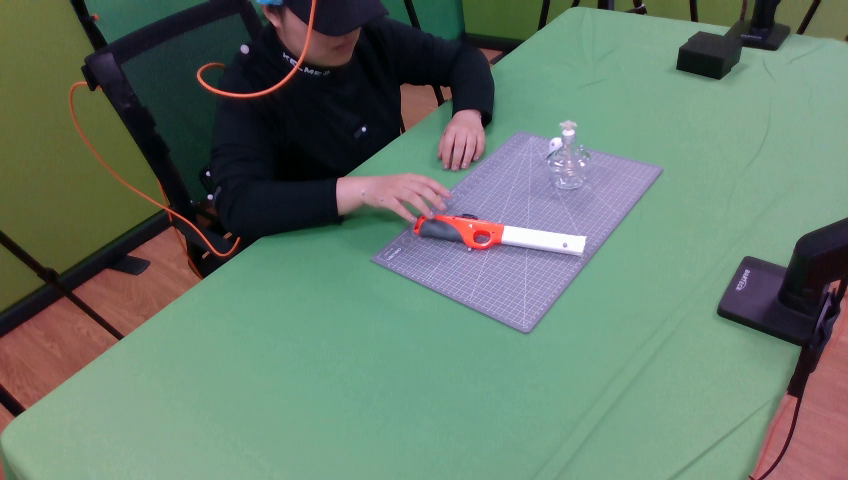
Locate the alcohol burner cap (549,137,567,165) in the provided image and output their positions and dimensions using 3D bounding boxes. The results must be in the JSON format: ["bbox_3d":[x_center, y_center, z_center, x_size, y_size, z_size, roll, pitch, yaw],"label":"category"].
[{"bbox_3d":[0.247,-0.166,1.114,0.034,0.048,0.033,-6,40,5],"label":"alcohol burner cap"}]

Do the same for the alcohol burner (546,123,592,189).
[{"bbox_3d":[0.248,-0.147,1.034,0.078,0.120,0.077,-7,41,6],"label":"alcohol burner"}]

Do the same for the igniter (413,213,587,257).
[{"bbox_3d":[0.116,-0.009,0.959,0.275,0.025,0.057,8,65,17],"label":"igniter"}]
